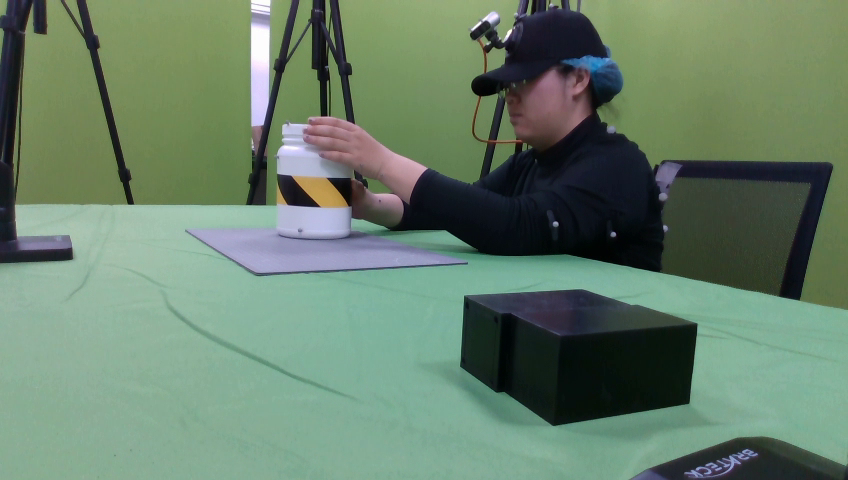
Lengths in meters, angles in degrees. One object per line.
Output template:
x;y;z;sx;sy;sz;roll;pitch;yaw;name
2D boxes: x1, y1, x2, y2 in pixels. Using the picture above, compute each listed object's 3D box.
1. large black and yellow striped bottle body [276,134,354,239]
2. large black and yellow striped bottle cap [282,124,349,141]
-0.190;-0.099;1.056;0.131;0.184;0.130;3;8;0;large black and yellow striped bottle body
-0.186;-0.185;1.045;0.115;0.019;0.115;5;6;0;large black and yellow striped bottle cap
